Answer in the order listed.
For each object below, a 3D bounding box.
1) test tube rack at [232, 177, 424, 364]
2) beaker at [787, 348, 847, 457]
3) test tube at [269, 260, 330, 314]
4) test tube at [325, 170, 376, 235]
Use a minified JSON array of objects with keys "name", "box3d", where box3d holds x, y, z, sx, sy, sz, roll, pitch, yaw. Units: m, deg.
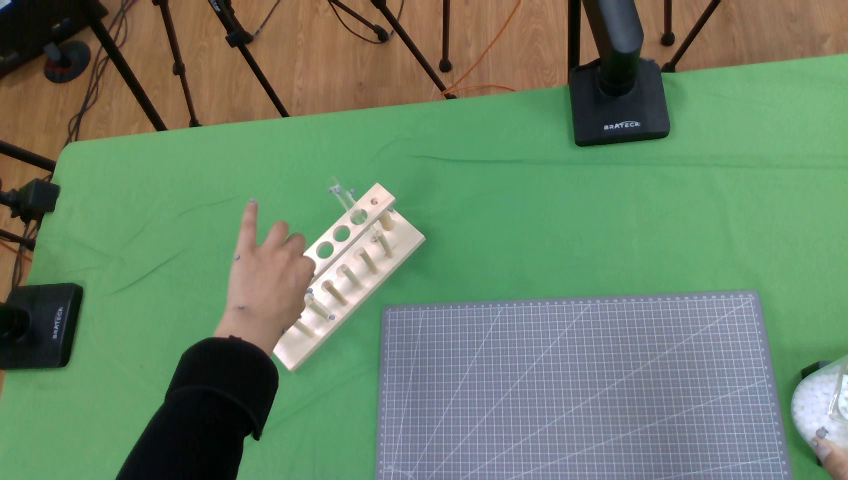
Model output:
[{"name":"test tube rack","box3d":[-0.114,0.041,0.764,0.242,0.086,0.066,-45,67,-7]},{"name":"beaker","box3d":[0.311,0.116,0.432,0.084,0.101,0.073,-18,64,3]},{"name":"test tube","box3d":[-0.142,0.057,0.701,0.017,0.152,0.017,-5,65,11]},{"name":"test tube","box3d":[-0.085,-0.042,0.736,0.017,0.151,0.017,-5,65,12]}]
